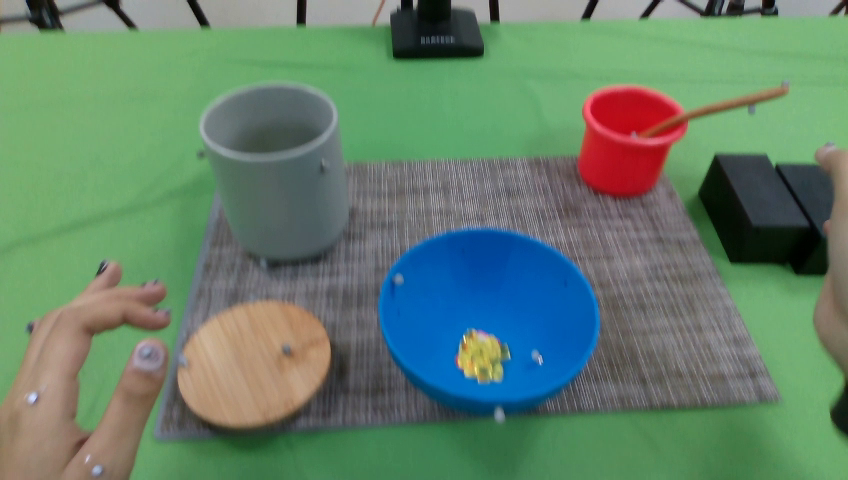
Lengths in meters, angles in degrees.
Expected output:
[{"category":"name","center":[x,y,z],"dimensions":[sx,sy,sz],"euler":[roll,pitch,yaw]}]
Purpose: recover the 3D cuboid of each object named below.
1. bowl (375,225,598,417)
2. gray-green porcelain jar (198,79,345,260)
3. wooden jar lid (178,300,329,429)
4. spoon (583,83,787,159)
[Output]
[{"category":"bowl","center":[0.041,0.069,0.436],"dimensions":[0.151,0.077,0.150],"euler":[1,47,-1]},{"category":"gray-green porcelain jar","center":[-0.122,-0.054,0.515],"dimensions":[0.106,0.127,0.105],"euler":[1,46,-1]},{"category":"wooden jar lid","center":[-0.124,0.092,0.449],"dimensions":[0.108,0.021,0.107],"euler":[0,46,0]},{"category":"spoon","center":[0.233,-0.110,0.567],"dimensions":[0.022,0.193,0.041],"euler":[53,52,-15]}]
